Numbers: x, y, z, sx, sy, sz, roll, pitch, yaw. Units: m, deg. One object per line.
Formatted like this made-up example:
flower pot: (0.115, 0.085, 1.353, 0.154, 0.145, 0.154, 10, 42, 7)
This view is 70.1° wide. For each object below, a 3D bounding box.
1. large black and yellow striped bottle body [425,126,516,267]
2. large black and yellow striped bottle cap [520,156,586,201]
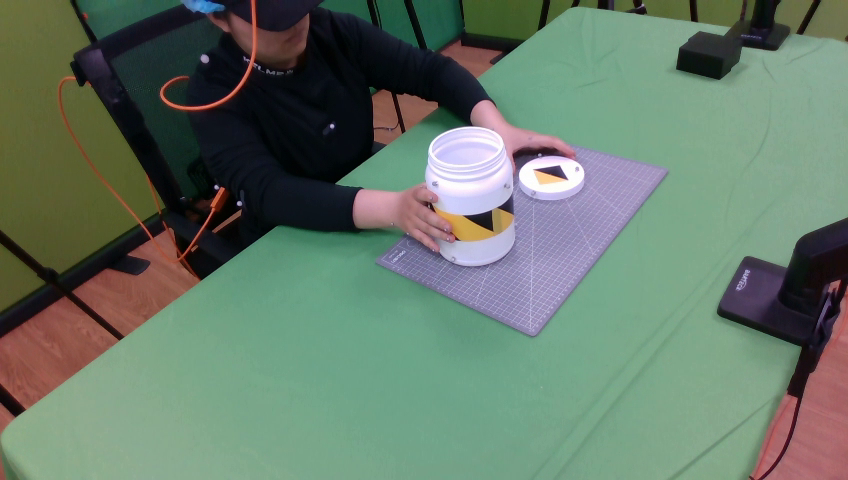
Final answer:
large black and yellow striped bottle body: (0.071, -0.066, 0.917, 0.131, 0.185, 0.130, -5, 40, 5)
large black and yellow striped bottle cap: (0.228, -0.111, 1.072, 0.115, 0.019, 0.114, -6, 40, 6)
